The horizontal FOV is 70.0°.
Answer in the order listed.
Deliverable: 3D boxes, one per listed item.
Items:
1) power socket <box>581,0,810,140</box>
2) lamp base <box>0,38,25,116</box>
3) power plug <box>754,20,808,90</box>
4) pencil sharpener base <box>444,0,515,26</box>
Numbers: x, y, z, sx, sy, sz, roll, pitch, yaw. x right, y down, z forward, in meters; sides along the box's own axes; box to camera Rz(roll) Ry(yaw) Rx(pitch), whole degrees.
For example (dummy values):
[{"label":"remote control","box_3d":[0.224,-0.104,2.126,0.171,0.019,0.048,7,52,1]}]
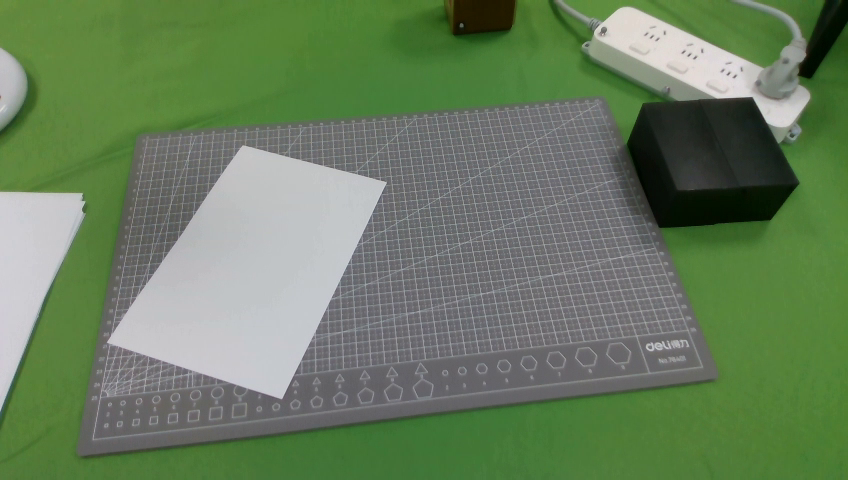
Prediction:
[{"label":"power socket","box_3d":[0.266,-0.173,0.601,0.225,0.033,0.072,36,63,22]},{"label":"lamp base","box_3d":[-0.476,-0.196,0.519,0.160,0.182,0.177,-33,60,-21]},{"label":"power plug","box_3d":[0.341,-0.164,0.568,0.072,0.053,0.035,-34,63,-20]},{"label":"pencil sharpener base","box_3d":[0.054,-0.286,0.629,0.077,0.108,0.061,-8,57,-5]}]
